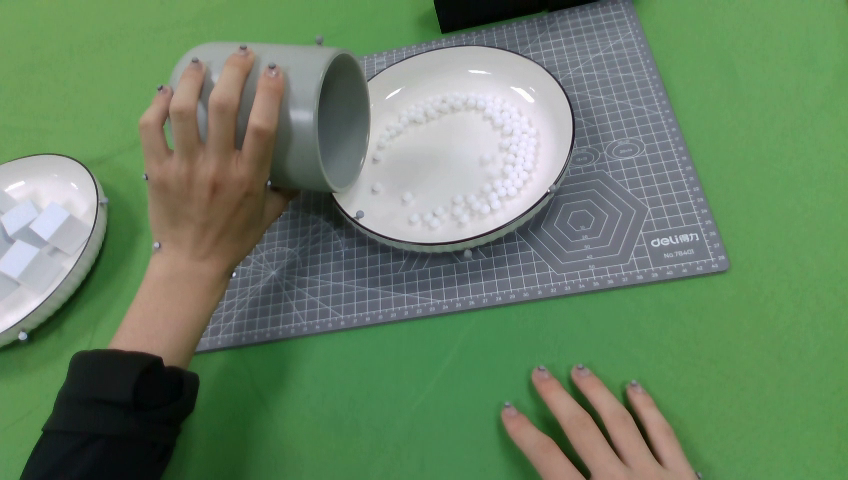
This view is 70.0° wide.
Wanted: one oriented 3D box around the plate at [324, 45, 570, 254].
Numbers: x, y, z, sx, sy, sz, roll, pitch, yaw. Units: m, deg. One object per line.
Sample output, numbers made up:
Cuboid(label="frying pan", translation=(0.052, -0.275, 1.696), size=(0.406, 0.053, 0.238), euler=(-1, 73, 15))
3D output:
Cuboid(label="plate", translation=(0.015, -0.075, 0.502), size=(0.209, 0.038, 0.207), euler=(-7, 58, 11))

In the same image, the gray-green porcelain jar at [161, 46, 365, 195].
Cuboid(label="gray-green porcelain jar", translation=(-0.121, -0.092, 0.460), size=(0.126, 0.107, 0.105), euler=(6, 61, 13))

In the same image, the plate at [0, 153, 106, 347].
Cuboid(label="plate", translation=(-0.383, 0.013, 0.553), size=(0.207, 0.039, 0.205), euler=(-6, 58, 11))
